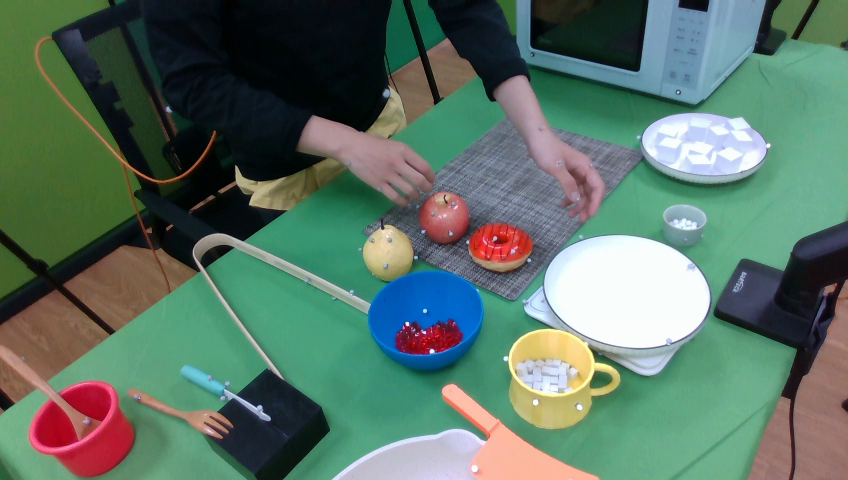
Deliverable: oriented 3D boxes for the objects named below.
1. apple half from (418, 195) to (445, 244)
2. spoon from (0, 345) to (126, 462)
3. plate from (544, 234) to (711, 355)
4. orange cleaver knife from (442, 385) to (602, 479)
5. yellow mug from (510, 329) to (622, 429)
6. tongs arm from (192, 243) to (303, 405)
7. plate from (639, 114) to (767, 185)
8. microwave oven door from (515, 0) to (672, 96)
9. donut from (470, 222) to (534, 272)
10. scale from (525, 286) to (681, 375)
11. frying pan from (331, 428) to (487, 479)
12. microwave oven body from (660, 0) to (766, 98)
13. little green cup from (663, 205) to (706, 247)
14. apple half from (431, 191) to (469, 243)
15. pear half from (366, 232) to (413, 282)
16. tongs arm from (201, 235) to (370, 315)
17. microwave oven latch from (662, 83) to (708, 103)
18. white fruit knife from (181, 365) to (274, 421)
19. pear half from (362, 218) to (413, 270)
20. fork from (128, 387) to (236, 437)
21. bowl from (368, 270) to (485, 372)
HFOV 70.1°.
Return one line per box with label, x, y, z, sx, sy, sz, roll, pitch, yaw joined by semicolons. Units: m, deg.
apple half;0.008;-0.027;0.959;0.033;0.081;0.080;-14;41;-11
spoon;-0.434;0.192;0.720;0.194;0.021;0.042;47;53;-7
plate;0.262;0.072;0.792;0.209;0.038;0.208;-4;41;4
orange cleaver knife;0.086;0.219;0.612;0.209;0.012;0.077;28;49;35
yellow mug;0.168;0.164;0.721;0.130;0.064;0.099;0;40;8
tongs arm;-0.268;0.110;0.884;0.028;0.028;0.384;-36;47;-17
plate;0.489;-0.157;1.074;0.207;0.039;0.206;-4;40;4
microwave oven door;0.343;-0.455;1.259;0.353;0.245;0.039;26;51;33
donut;0.118;0.009;0.923;0.099;0.048;0.098;-3;38;3
scale;0.254;0.091;0.821;0.199;0.032;0.149;28;51;35
frying pan;-0.089;0.306;0.564;0.487;0.103;0.306;10;41;7
microwave oven body;0.472;-0.513;1.317;0.438;0.261;0.327;26;51;34
little green cup;0.396;-0.020;0.926;0.061;0.039;0.061;-4;40;4
apple half;0.045;-0.038;0.968;0.053;0.075;0.080;-14;38;-11
pear half;-0.048;0.031;0.893;0.071;0.088;0.031;-16;40;-13
tongs arm;-0.209;0.062;0.924;0.381;0.027;0.051;23;54;32
microwave oven latch;0.517;-0.296;1.204;0.078;0.029;0.030;28;52;35
white fruit knife;-0.245;0.188;0.747;0.205;0.027;0.016;9;41;41
pear half;-0.059;0.002;0.913;0.076;0.110;0.055;-14;41;-13
fork;-0.305;0.207;0.744;0.206;0.019;0.028;3;40;36
bowl;0.007;0.118;0.791;0.151;0.077;0.150;-5;40;4
